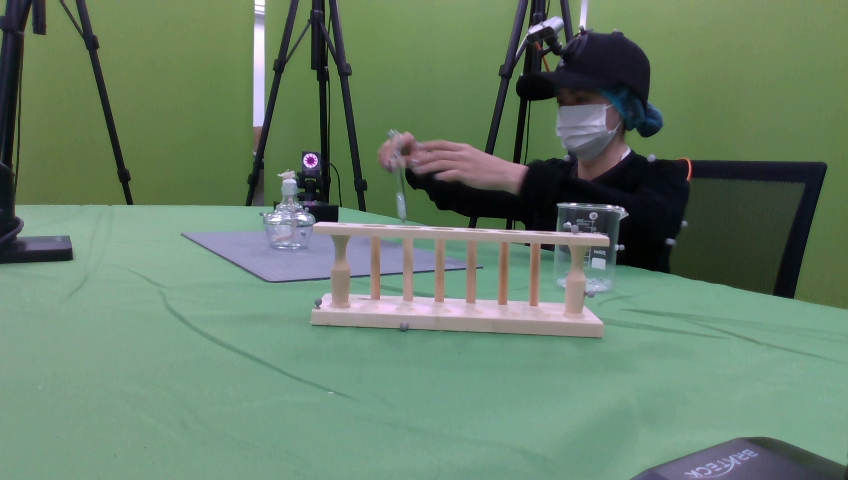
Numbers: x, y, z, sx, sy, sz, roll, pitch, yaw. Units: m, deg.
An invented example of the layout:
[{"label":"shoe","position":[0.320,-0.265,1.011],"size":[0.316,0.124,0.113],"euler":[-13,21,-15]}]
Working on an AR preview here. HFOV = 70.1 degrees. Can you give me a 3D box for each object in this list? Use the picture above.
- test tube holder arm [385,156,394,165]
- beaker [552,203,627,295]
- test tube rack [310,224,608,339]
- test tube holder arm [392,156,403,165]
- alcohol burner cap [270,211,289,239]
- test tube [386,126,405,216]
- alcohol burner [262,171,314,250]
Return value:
[{"label":"test tube holder arm","position":[-0.062,-0.142,1.079],"size":[0.013,0.015,0.178],"euler":[-1,7,-7]},{"label":"beaker","position":[0.191,0.010,0.708],"size":[0.083,0.100,0.074],"euler":[8,9,33]},{"label":"test tube rack","position":[0.028,0.032,0.528],"size":[0.242,0.085,0.067],"euler":[3,7,0]},{"label":"test tube holder arm","position":[-0.049,-0.137,1.036],"size":[0.010,0.015,0.087],"euler":[-2,7,-14]},{"label":"alcohol burner cap","position":[-0.246,-0.026,1.035],"size":[0.034,0.048,0.034],"euler":[2,8,0]},{"label":"test tube","position":[-0.048,-0.115,1.016],"size":[0.017,0.150,0.017],"euler":[-6,8,1]},{"label":"alcohol burner","position":[-0.205,-0.045,0.913],"size":[0.078,0.119,0.078],"euler":[1,9,0]}]
